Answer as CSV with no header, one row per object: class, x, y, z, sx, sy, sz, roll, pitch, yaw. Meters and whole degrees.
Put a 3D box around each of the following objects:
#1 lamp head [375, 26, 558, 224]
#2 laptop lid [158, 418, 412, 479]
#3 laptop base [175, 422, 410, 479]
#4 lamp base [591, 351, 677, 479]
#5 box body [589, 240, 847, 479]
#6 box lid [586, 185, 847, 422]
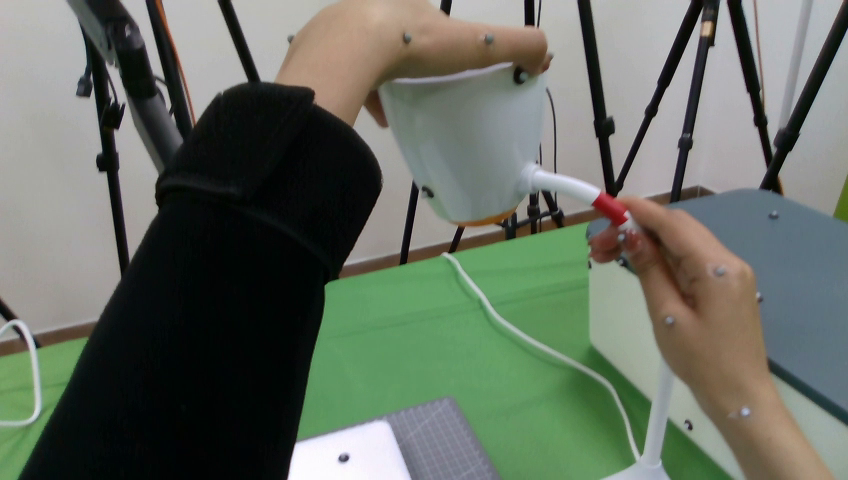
lamp head,0.036,-0.073,0.410,0.112,0.124,0.111,-12,28,7
laptop lid,-0.168,0.267,0.481,0.357,0.013,0.239,-11,30,-13
laptop base,-0.168,0.277,0.489,0.355,0.023,0.233,-12,31,-15
lamp base,0.159,0.183,0.445,0.160,0.181,0.178,6,26,18
box body,0.361,0.099,0.606,0.255,0.161,0.360,-13,28,-17
box lid,0.355,0.032,0.573,0.264,0.015,0.367,-12,28,-17
